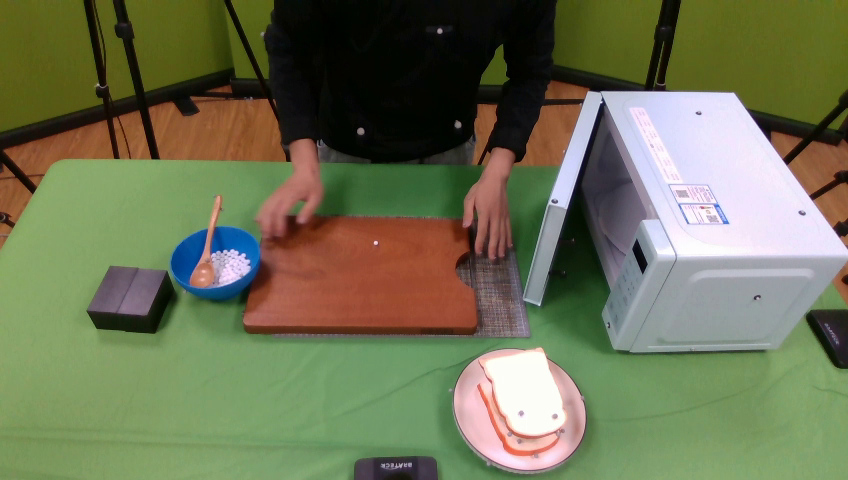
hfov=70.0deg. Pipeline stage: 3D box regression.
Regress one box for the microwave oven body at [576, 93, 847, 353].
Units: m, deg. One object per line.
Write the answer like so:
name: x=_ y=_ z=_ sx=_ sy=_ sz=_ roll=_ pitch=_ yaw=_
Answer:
microwave oven body: x=0.475 y=-0.041 z=1.109 sx=0.326 sy=0.261 sz=0.438 roll=-1 pitch=45 yaw=-4

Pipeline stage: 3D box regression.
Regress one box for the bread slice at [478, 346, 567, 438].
bread slice: x=0.152 y=0.227 z=0.901 sx=0.107 sy=0.018 sz=0.133 roll=-11 pitch=54 yaw=-16

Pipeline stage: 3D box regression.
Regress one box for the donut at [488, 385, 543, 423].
donut: x=0.147 y=0.242 z=0.928 sx=0.099 sy=0.048 sz=0.098 roll=-3 pitch=41 yaw=3

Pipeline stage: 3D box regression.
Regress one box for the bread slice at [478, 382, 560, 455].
bread slice: x=0.154 y=0.268 z=0.944 sx=0.105 sy=0.019 sz=0.130 roll=-10 pitch=47 yaw=-12

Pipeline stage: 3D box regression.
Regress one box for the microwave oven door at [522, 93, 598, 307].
microwave oven door: x=0.259 y=-0.084 z=1.127 sx=0.039 sy=0.245 sz=0.354 roll=17 pitch=47 yaw=12

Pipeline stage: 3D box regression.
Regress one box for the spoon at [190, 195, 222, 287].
spoon: x=-0.384 y=0.000 z=1.088 sx=0.041 sy=0.022 sz=0.193 roll=0 pitch=66 yaw=7

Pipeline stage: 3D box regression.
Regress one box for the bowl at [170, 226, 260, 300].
bowl: x=-0.365 y=0.054 z=1.080 sx=0.151 sy=0.077 sz=0.150 roll=2 pitch=45 yaw=-2

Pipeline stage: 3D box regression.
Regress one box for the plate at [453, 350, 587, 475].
plate: x=0.147 y=0.267 z=0.943 sx=0.208 sy=0.039 sz=0.206 roll=2 pitch=46 yaw=-2

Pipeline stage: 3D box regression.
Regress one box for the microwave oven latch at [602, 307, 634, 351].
microwave oven latch: x=0.332 y=0.153 z=1.044 sx=0.030 sy=0.029 sz=0.078 roll=0 pitch=45 yaw=-4
